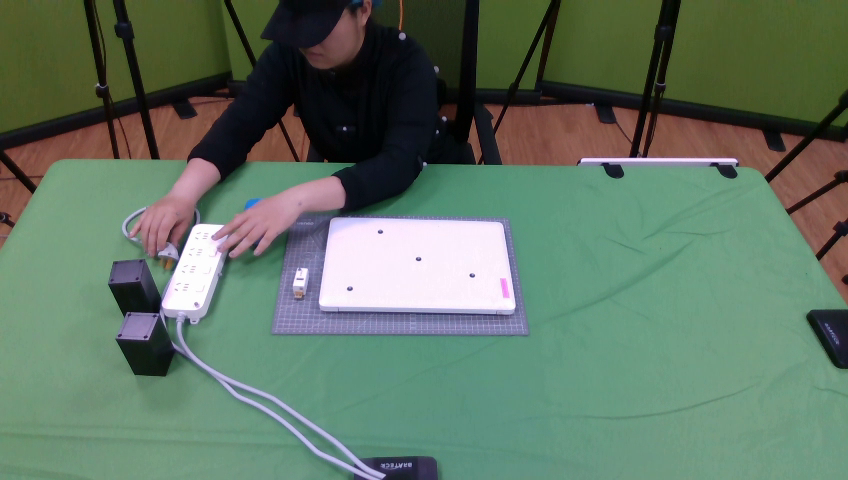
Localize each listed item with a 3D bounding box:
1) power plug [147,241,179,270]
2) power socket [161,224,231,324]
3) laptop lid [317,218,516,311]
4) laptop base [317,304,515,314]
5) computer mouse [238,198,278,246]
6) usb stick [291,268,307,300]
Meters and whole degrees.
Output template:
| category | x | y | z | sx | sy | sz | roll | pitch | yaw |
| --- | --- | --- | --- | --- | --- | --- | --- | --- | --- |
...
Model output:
| category | x | y | z | sx | sy | sz | roll | pitch | yaw |
| --- | --- | --- | --- | --- | --- | --- | --- | --- | --- |
| power plug | -0.489 | 0.030 | 1.131 | 0.072 | 0.035 | 0.052 | 0 | 64 | 30 |
| power socket | -0.412 | 0.052 | 1.106 | 0.072 | 0.033 | 0.225 | 4 | 46 | -2 |
| laptop lid | -0.013 | 0.040 | 1.143 | 0.357 | 0.013 | 0.240 | 3 | 43 | -2 |
| laptop base | -0.014 | 0.050 | 1.150 | 0.354 | 0.023 | 0.234 | 1 | 42 | -3 |
| computer mouse | -0.328 | -0.039 | 1.200 | 0.063 | 0.041 | 0.116 | 5 | 50 | -4 |
| usb stick | -0.227 | 0.081 | 1.094 | 0.021 | 0.027 | 0.059 | 5 | 48 | -2 |
